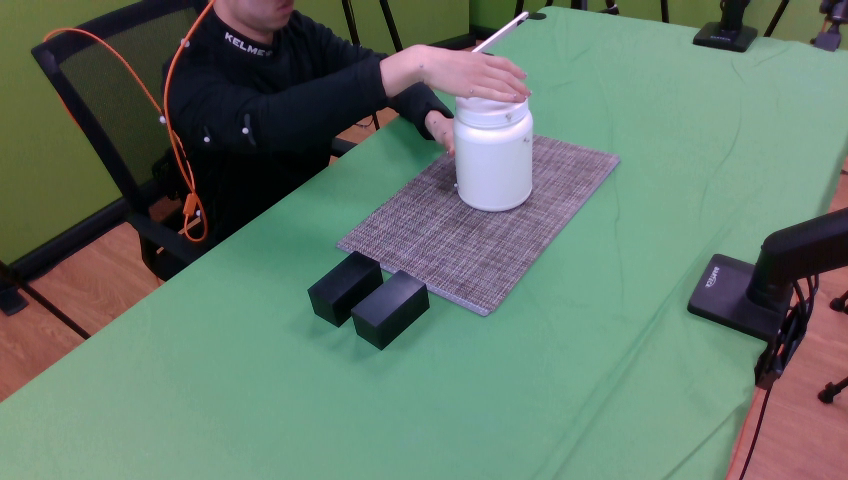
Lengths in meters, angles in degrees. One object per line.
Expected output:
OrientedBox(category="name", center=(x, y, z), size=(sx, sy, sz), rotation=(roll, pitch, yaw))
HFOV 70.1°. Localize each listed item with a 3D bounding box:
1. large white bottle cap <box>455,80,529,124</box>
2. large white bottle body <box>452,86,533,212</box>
OrientedBox(category="large white bottle cap", center=(0.106, -0.218, 0.945), size=(0.115, 0.018, 0.114), rotation=(-4, 41, 4))
OrientedBox(category="large white bottle body", center=(0.115, -0.154, 1.000), size=(0.130, 0.185, 0.130), rotation=(-4, 41, 4))
